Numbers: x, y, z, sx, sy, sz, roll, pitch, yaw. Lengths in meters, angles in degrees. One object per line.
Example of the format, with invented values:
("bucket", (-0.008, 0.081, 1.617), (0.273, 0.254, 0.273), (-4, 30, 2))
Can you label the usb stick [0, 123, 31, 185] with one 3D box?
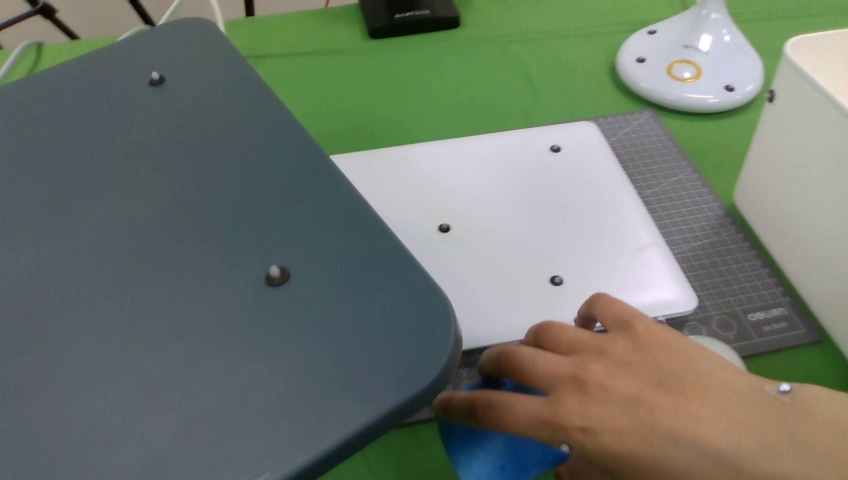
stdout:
("usb stick", (-0.362, -0.073, 0.525), (0.021, 0.027, 0.058), (-9, 51, -9))

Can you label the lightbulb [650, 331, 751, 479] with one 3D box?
("lightbulb", (0.187, 0.113, 0.399), (0.059, 0.060, 0.107), (-6, 65, -3))

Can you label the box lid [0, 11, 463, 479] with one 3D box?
("box lid", (-0.178, -0.005, 0.303), (0.263, 0.015, 0.367), (-29, 50, -15))

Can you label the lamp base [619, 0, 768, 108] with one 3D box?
("lamp base", (0.303, -0.261, 0.633), (0.160, 0.182, 0.178), (17, 49, 16))

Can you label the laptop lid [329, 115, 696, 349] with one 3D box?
("laptop lid", (0.019, -0.011, 0.516), (0.357, 0.013, 0.239), (-8, 51, -5))

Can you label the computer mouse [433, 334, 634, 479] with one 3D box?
("computer mouse", (0.066, 0.098, 0.357), (0.117, 0.041, 0.062), (-19, 61, -17))

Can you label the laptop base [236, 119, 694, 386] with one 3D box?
("laptop base", (0.019, -0.005, 0.526), (0.355, 0.023, 0.233), (-9, 53, -6))

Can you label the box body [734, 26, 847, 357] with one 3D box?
("box body", (0.418, 0.012, 0.404), (0.254, 0.162, 0.360), (-9, 49, -6))

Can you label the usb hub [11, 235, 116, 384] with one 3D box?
("usb hub", (-0.283, 0.051, 0.482), (0.049, 0.025, 0.123), (-9, 49, -4))
